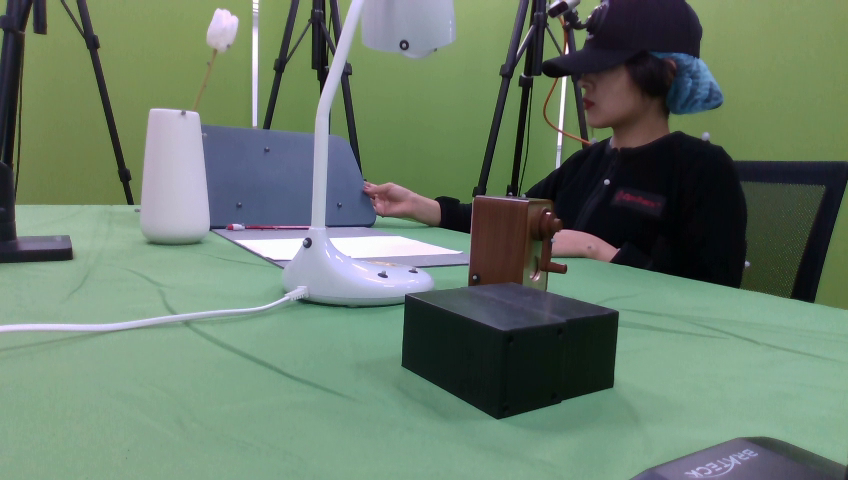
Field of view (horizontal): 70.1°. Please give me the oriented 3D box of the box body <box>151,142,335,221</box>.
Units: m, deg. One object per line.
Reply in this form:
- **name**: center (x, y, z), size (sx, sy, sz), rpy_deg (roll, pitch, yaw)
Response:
- **box body**: center (-0.413, -0.135, 1.379), size (0.366, 0.160, 0.253), rpy_deg (-2, 9, -31)

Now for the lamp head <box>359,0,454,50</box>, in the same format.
- **lamp head**: center (-0.024, -0.283, 0.674), size (0.112, 0.123, 0.112), rpy_deg (-3, 38, 3)

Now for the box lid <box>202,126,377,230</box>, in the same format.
- **box lid**: center (-0.290, -0.128, 1.237), size (0.373, 0.262, 0.015), rpy_deg (-2, -35, -32)

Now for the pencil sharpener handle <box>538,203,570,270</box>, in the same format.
- **pencil sharpener handle**: center (0.137, -0.003, 0.619), size (0.030, 0.067, 0.036), rpy_deg (8, 5, 38)

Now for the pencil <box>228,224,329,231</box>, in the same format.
- **pencil**: center (-0.266, -0.024, 1.124), size (0.195, 0.012, 0.012), rpy_deg (-1, 8, -32)

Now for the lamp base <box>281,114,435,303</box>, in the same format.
- **lamp base**: center (-0.071, -0.035, 0.614), size (0.160, 0.180, 0.180), rpy_deg (5, 10, 27)

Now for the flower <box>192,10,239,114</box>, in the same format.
- **flower**: center (-0.353, -0.174, 0.915), size (0.038, 0.361, 0.044), rpy_deg (17, -4, 12)

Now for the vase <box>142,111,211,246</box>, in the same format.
- **vase**: center (-0.378, -0.093, 0.920), size (0.098, 0.200, 0.098), rpy_deg (2, 9, 0)

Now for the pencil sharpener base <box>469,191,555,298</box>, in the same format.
- **pencil sharpener base**: center (0.097, 0.003, 0.652), size (0.076, 0.107, 0.061), rpy_deg (8, 9, 38)
